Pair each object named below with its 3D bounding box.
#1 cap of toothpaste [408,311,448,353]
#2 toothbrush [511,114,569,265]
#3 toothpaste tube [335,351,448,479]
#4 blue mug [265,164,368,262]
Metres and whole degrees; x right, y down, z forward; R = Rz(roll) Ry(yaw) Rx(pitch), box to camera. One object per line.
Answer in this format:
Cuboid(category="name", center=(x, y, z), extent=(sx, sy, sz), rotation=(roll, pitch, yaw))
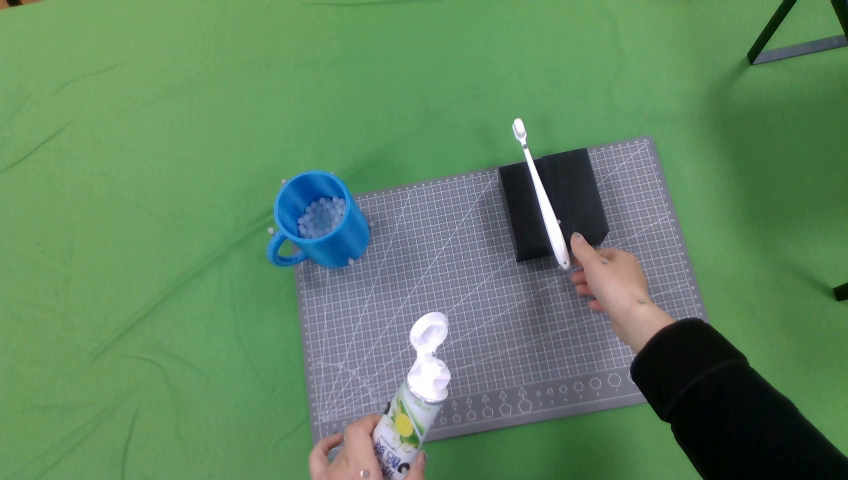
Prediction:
Cuboid(category="cap of toothpaste", center=(0.004, 0.072, 0.472), extent=(0.037, 0.038, 0.011), rotation=(-41, 40, -6))
Cuboid(category="toothbrush", center=(0.127, -0.058, 0.660), extent=(0.014, 0.017, 0.180), rotation=(-13, 74, -7))
Cuboid(category="toothpaste tube", center=(-0.025, 0.157, 0.491), extent=(0.054, 0.035, 0.165), rotation=(37, 113, 27))
Cuboid(category="blue mug", center=(-0.126, -0.017, 0.678), extent=(0.116, 0.106, 0.082), rotation=(-38, 74, -5))
